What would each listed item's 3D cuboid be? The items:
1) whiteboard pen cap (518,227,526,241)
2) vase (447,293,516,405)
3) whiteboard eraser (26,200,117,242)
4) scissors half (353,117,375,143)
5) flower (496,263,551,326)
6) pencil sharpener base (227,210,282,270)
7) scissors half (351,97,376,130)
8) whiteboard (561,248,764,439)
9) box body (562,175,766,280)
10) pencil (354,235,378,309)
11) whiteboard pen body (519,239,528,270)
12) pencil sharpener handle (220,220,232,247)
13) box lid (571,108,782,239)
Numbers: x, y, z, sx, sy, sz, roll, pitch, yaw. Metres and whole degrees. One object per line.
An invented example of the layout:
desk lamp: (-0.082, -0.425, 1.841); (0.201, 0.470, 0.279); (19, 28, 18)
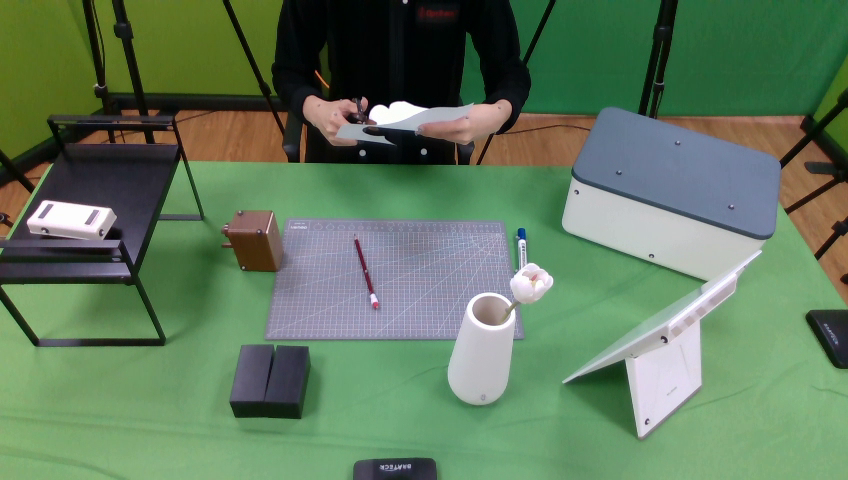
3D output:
whiteboard pen cap: (0.197, -0.009, 1.220); (0.018, 0.018, 0.033); (5, 51, 1)
vase: (0.091, 0.168, 0.921); (0.098, 0.201, 0.097); (3, 47, -3)
whiteboard eraser: (-0.532, -0.026, 0.919); (0.113, 0.042, 0.055); (7, 45, 3)
scissors half: (-0.102, -0.192, 1.040); (0.013, 0.040, 0.175); (-8, 4, -15)
flower: (0.102, 0.121, 0.853); (0.044, 0.363, 0.038); (-2, 64, -10)
pencil sharpener base: (-0.311, 0.001, 1.112); (0.077, 0.107, 0.061); (1, 47, 1)
scissors half: (-0.104, -0.213, 1.034); (0.013, 0.040, 0.174); (-13, 29, -14)
whiteboard: (0.386, 0.176, 0.905); (0.217, 0.306, 0.143); (-26, 72, -27)
box body: (0.486, -0.088, 1.222); (0.363, 0.161, 0.253); (20, 48, 15)
pencil: (-0.112, 0.055, 1.143); (0.012, 0.012, 0.192); (-10, 46, -13)
whiteboard pen body: (0.193, 0.035, 1.181); (0.017, 0.017, 0.140); (6, 48, 1)
pencil sharpener handle: (-0.362, -0.009, 1.104); (0.030, 0.068, 0.036); (1, 52, 1)
box lid: (0.491, -0.139, 1.168); (0.370, 0.015, 0.262); (21, 49, 15)
